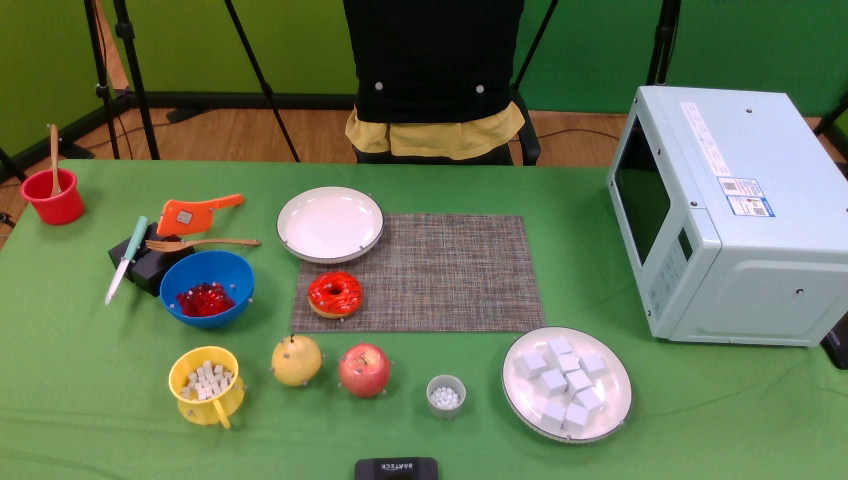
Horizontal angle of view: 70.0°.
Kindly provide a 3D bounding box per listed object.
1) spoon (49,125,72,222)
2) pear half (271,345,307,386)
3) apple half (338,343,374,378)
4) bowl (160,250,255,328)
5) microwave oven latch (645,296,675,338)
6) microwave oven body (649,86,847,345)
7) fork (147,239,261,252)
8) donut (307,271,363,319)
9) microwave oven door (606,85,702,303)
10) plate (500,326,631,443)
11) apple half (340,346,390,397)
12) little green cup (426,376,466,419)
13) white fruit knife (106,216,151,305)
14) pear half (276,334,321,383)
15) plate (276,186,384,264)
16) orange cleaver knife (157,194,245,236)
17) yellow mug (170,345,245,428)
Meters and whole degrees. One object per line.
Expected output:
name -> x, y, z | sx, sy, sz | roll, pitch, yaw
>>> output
spoon -> -0.717, -0.131, 1.189 | 0.041, 0.021, 0.193 | -3, 90, -6
pear half -> -0.216, 0.200, 0.943 | 0.070, 0.088, 0.031 | 27, 49, 15
apple half -> -0.112, 0.192, 0.968 | 0.081, 0.081, 0.032 | -32, 59, -29
bowl -> -0.362, 0.097, 1.040 | 0.151, 0.077, 0.150 | 2, 45, -2
microwave oven latch -> 0.411, 0.134, 1.061 | 0.030, 0.029, 0.078 | 4, 45, 0
microwave oven body -> 0.567, -0.053, 1.119 | 0.326, 0.261, 0.439 | 2, 45, -1
fork -> -0.399, 0.007, 1.118 | 0.208, 0.019, 0.028 | -4, 34, -37
donut -> -0.157, 0.097, 1.073 | 0.099, 0.048, 0.098 | 4, 45, -4
microwave oven door -> 0.423, -0.094, 1.140 | 0.039, 0.245, 0.353 | 2, 46, -1
plate -> 0.224, 0.233, 0.978 | 0.208, 0.039, 0.206 | 2, 46, -2
apple half -> -0.085, 0.214, 0.950 | 0.081, 0.075, 0.053 | -29, 58, -32
little green cup -> 0.033, 0.248, 0.950 | 0.061, 0.039, 0.061 | 2, 46, -2
white fruit knife -> -0.519, 0.032, 1.066 | 0.027, 0.016, 0.206 | -18, 45, 19
pear half -> -0.195, 0.172, 0.957 | 0.076, 0.110, 0.056 | 27, 51, 16
plate -> -0.184, -0.027, 1.195 | 0.209, 0.038, 0.208 | 2, 46, -2
orange cleaver knife -> -0.427, -0.051, 1.175 | 0.012, 0.077, 0.211 | 23, 19, 20
yellow mug -> -0.322, 0.230, 0.922 | 0.100, 0.064, 0.130 | -24, 53, -25
